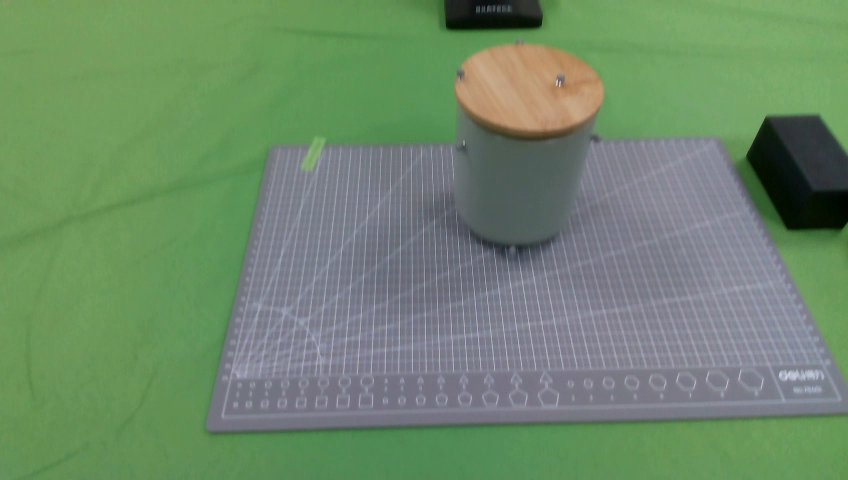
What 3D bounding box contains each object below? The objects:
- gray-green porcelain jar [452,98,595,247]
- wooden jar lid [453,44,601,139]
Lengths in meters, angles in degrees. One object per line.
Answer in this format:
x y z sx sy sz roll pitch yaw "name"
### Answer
0.076 -0.065 0.497 0.106 0.127 0.105 0 49 0 "gray-green porcelain jar"
0.075 -0.108 0.448 0.108 0.021 0.107 0 49 0 "wooden jar lid"
